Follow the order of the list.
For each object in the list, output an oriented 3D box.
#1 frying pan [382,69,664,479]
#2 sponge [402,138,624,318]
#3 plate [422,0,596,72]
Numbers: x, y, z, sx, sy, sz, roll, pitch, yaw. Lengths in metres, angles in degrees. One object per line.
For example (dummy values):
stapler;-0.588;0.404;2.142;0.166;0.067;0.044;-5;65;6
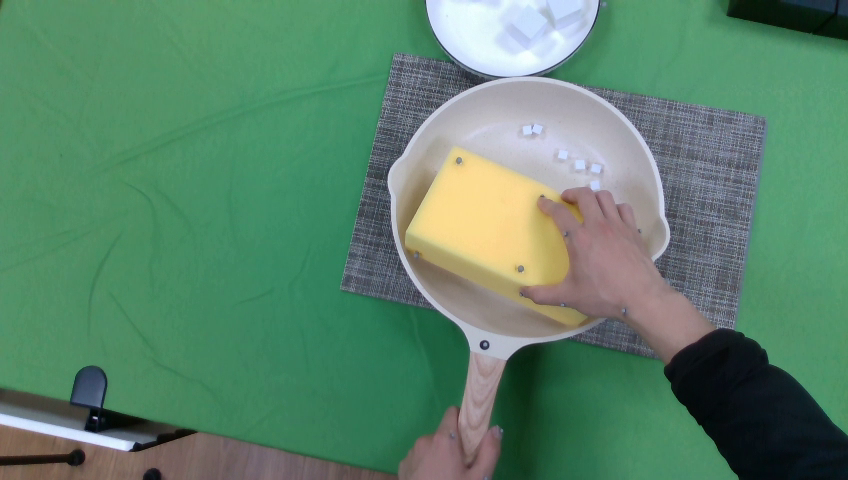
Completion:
frying pan;0.078;0.057;0.654;0.306;0.103;0.486;15;76;6
sponge;0.093;-0.012;0.659;0.206;0.061;0.118;24;71;6
plate;0.101;-0.298;0.731;0.207;0.039;0.207;0;83;4
